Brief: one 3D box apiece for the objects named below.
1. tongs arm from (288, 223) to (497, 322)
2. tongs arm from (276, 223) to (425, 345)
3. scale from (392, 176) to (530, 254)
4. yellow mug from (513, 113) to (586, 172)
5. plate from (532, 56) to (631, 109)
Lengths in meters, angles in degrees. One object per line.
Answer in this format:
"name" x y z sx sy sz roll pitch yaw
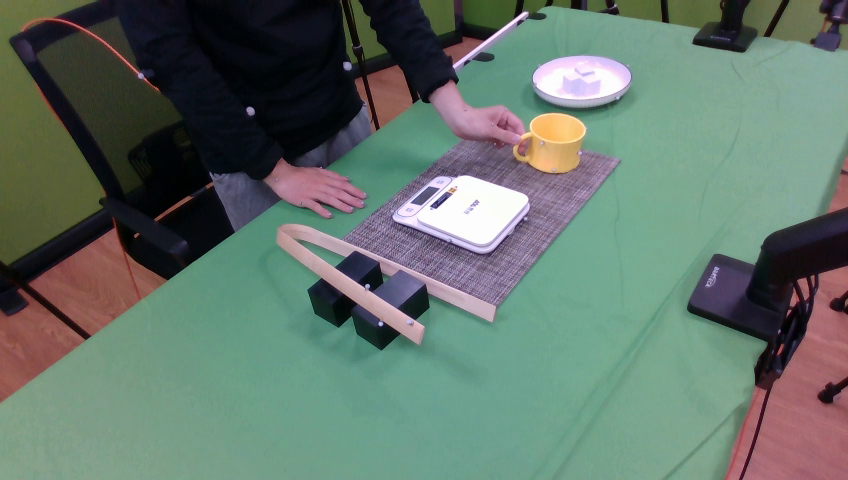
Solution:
"tongs arm" -0.060 0.042 0.918 0.384 0.028 0.028 21 24 29
"tongs arm" -0.114 0.049 0.856 0.051 0.026 0.381 -7 25 -43
"scale" 0.060 -0.050 1.006 0.199 0.032 0.149 22 48 30
"yellow mug" 0.222 -0.173 1.090 0.131 0.064 0.099 -10 43 -11
"plate" 0.336 -0.336 1.301 0.207 0.039 0.206 -4 41 4
